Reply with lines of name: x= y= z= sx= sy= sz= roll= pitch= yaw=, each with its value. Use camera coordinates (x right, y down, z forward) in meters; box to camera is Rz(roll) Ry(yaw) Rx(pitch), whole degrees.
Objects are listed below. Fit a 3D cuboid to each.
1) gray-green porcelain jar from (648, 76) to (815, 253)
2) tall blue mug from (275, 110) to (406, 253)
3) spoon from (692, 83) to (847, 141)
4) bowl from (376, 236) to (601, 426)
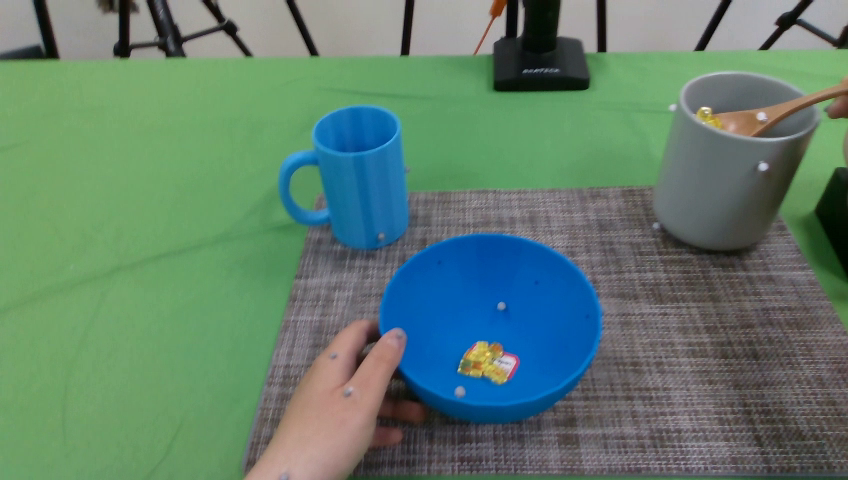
gray-green porcelain jar: x=0.257 y=-0.060 z=0.526 sx=0.106 sy=0.128 sz=0.105 roll=-2 pitch=44 yaw=2
tall blue mug: x=-0.070 y=-0.045 z=0.546 sx=0.107 sy=0.109 sz=0.077 roll=-34 pitch=52 yaw=-28
spoon: x=0.292 y=-0.102 z=0.448 sx=0.193 sy=0.022 sz=0.041 roll=-16 pitch=41 yaw=36
bowl: x=0.044 y=0.076 z=0.433 sx=0.151 sy=0.077 sz=0.150 roll=-2 pitch=43 yaw=2
